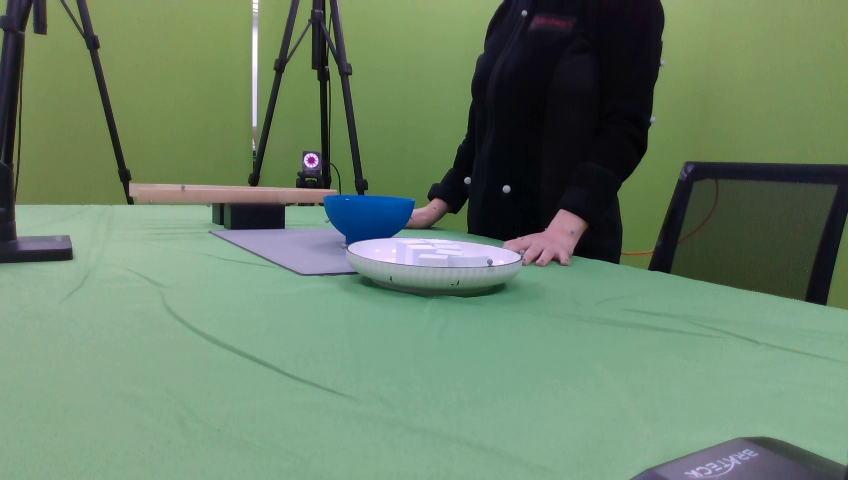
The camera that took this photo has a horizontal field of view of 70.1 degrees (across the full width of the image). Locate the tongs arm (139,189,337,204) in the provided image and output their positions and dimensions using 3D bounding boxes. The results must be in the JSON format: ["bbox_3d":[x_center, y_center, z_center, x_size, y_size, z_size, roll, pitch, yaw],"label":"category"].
[{"bbox_3d":[-0.333,-0.083,1.145,0.387,0.026,0.050,-3,8,-34],"label":"tongs arm"}]

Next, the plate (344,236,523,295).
[{"bbox_3d":[0.010,0.030,0.707,0.208,0.039,0.207,3,8,0],"label":"plate"}]

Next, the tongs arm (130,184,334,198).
[{"bbox_3d":[-0.372,-0.094,1.212,0.389,0.028,0.028,-1,3,-22],"label":"tongs arm"}]

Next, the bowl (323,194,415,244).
[{"bbox_3d":[-0.091,-0.032,0.987,0.151,0.077,0.151,2,7,0],"label":"bowl"}]
